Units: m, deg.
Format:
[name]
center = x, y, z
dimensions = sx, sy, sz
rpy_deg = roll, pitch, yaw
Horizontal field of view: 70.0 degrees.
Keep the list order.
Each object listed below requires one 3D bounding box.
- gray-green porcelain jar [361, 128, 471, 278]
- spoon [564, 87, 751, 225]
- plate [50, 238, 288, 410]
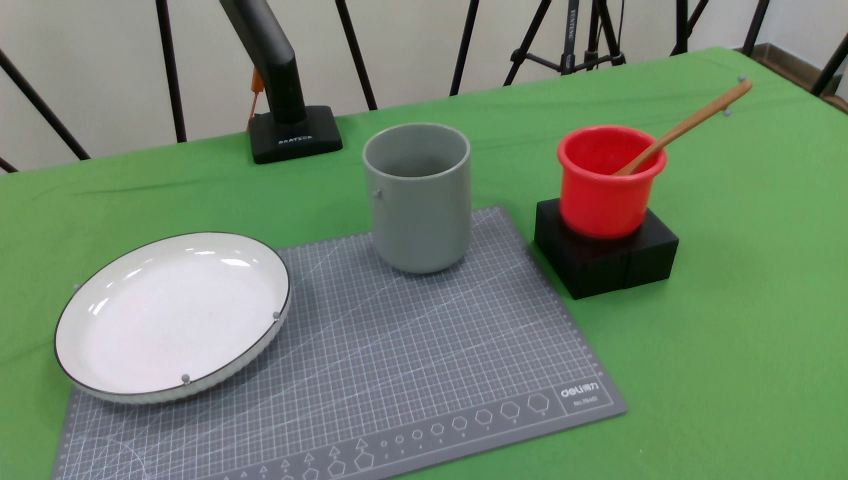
[gray-green porcelain jar]
center = -0.005, -0.033, 0.614
dimensions = 0.106, 0.127, 0.105
rpy_deg = -2, 39, 2
[spoon]
center = 0.211, -0.075, 0.559
dimensions = 0.194, 0.022, 0.041
rpy_deg = -41, 34, 25
[plate]
center = -0.230, 0.076, 0.568
dimensions = 0.207, 0.039, 0.205
rpy_deg = -2, 39, 2
